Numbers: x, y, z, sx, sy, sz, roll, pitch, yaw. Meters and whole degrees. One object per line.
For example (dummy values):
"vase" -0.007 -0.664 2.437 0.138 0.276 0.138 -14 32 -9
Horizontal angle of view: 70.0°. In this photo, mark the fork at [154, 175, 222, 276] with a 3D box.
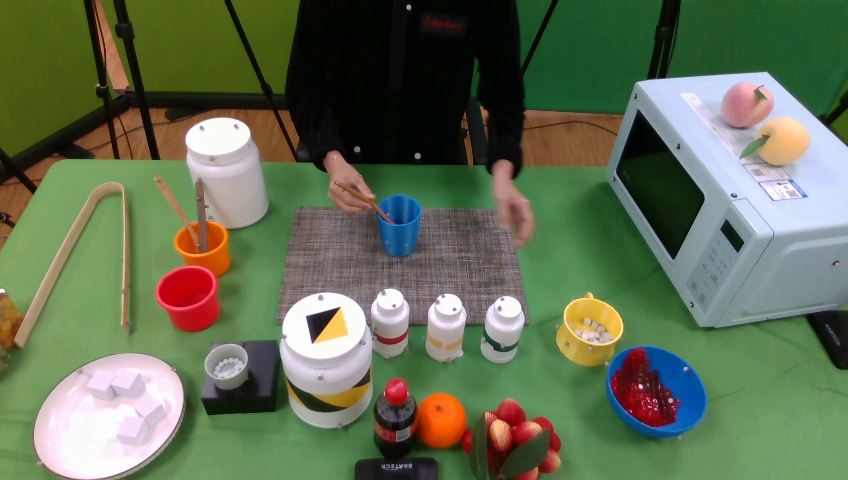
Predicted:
"fork" -0.431 -0.026 1.101 0.028 0.018 0.207 -33 100 -25

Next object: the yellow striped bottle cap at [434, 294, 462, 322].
"yellow striped bottle cap" 0.038 0.107 0.958 0.044 0.019 0.044 2 45 -2

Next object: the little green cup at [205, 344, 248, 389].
"little green cup" -0.294 0.191 0.909 0.061 0.039 0.061 1 47 -1

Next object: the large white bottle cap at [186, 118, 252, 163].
"large white bottle cap" -0.377 -0.185 1.114 0.115 0.018 0.114 2 47 -2

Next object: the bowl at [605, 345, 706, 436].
"bowl" 0.351 0.248 0.950 0.151 0.077 0.150 2 46 -2

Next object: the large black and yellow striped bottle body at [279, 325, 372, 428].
"large black and yellow striped bottle body" -0.143 0.181 0.900 0.131 0.185 0.130 2 46 -2

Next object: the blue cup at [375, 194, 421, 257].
"blue cup" -0.050 -0.022 1.156 0.093 0.101 0.092 2 46 -1

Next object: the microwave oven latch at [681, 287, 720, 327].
"microwave oven latch" 0.494 0.119 1.087 0.030 0.029 0.078 -5 46 -9

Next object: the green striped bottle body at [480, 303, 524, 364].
"green striped bottle body" 0.129 0.147 1.000 0.063 0.120 0.063 2 46 -2

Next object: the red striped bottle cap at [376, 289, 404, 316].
"red striped bottle cap" -0.054 0.098 0.958 0.044 0.018 0.044 0 48 1

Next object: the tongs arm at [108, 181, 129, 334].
"tongs arm" -0.571 0.019 1.123 0.051 0.026 0.382 -11 47 -12

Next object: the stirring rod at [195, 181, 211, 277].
"stirring rod" -0.403 -0.020 1.104 0.014 0.006 0.176 -6 89 -9

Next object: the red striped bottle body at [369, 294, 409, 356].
"red striped bottle body" -0.059 0.134 0.997 0.063 0.120 0.062 5 48 -5

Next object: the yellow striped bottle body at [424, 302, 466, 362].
"yellow striped bottle body" 0.035 0.143 0.995 0.063 0.121 0.062 3 46 -3

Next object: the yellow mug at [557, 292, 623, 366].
"yellow mug" 0.285 0.145 1.051 0.100 0.064 0.130 7 46 4

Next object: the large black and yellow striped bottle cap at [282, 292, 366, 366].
"large black and yellow striped bottle cap" -0.138 0.121 0.841 0.115 0.019 0.114 3 47 -3

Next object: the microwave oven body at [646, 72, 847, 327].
"microwave oven body" 0.607 -0.089 1.164 0.326 0.261 0.438 -7 46 -10

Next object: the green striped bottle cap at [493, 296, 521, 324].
"green striped bottle cap" 0.133 0.111 0.962 0.044 0.020 0.044 2 47 -2

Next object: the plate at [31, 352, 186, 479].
"plate" -0.459 0.262 0.898 0.209 0.038 0.208 2 46 -2

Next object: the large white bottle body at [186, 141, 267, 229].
"large white bottle body" -0.383 -0.127 1.175 0.131 0.185 0.130 2 47 -2

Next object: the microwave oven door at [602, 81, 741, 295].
"microwave oven door" 0.456 -0.107 1.162 0.039 0.245 0.353 -7 47 -11

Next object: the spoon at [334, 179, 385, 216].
"spoon" -0.094 -0.060 1.097 0.021 0.195 0.041 -50 41 -1

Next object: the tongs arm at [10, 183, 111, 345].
"tongs arm" -0.658 0.027 1.109 0.028 0.028 0.385 -2 45 2
